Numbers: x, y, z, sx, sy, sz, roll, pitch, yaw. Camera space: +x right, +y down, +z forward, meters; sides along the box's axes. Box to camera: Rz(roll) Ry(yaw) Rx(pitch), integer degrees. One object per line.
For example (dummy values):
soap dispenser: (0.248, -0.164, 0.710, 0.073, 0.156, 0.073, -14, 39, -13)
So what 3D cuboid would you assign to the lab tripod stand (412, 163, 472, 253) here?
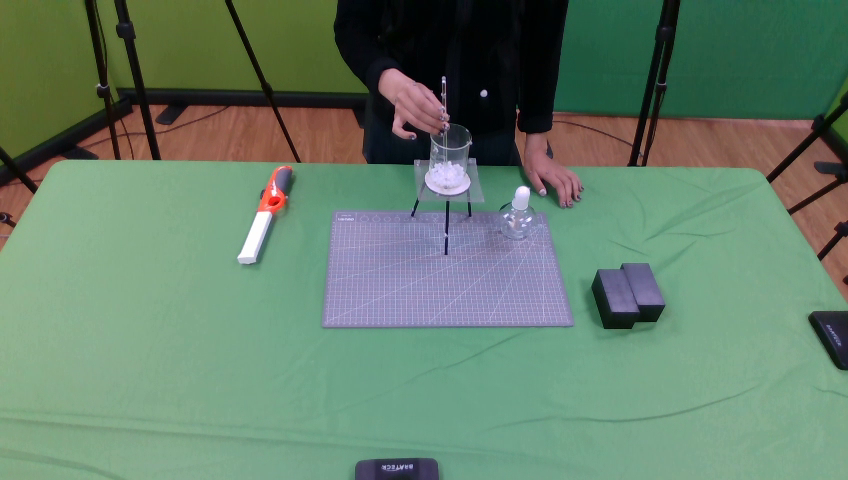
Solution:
lab tripod stand: (0.043, -0.070, 1.187, 0.148, 0.132, 0.147, 3, 47, -3)

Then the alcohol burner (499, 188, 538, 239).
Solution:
alcohol burner: (0.189, -0.060, 1.202, 0.078, 0.120, 0.077, 1, 48, -1)

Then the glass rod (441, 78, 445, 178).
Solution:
glass rod: (0.032, -0.186, 1.039, 0.008, 0.201, 0.008, -1, 45, 1)

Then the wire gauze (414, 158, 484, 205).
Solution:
wire gauze: (0.045, -0.113, 1.137, 0.125, 0.011, 0.120, 2, 48, -6)

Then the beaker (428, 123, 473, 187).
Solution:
beaker: (0.044, -0.154, 1.110, 0.074, 0.101, 0.083, -25, 54, -25)

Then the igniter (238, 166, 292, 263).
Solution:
igniter: (-0.318, -0.060, 1.229, 0.057, 0.025, 0.275, -2, 45, 10)

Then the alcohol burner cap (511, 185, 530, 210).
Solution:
alcohol burner cap: (0.190, -0.086, 1.176, 0.034, 0.048, 0.033, 3, 50, -3)
